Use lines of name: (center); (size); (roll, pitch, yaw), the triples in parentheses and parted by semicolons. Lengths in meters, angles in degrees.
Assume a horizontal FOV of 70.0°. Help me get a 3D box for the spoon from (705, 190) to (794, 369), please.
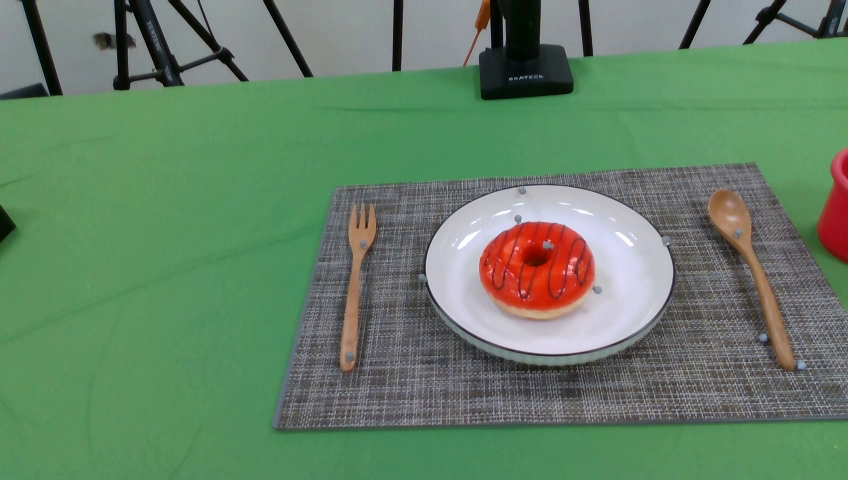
spoon: (0.277, 0.025, 0.514); (0.042, 0.022, 0.192); (12, 43, -5)

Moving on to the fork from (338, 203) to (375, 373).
fork: (-0.063, 0.034, 0.556); (0.028, 0.019, 0.205); (1, 41, -1)

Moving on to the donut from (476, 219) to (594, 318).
donut: (0.094, 0.023, 0.514); (0.099, 0.049, 0.098); (-5, 45, 5)

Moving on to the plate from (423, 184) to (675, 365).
plate: (0.104, 0.027, 0.525); (0.209, 0.038, 0.207); (-4, 42, 4)
